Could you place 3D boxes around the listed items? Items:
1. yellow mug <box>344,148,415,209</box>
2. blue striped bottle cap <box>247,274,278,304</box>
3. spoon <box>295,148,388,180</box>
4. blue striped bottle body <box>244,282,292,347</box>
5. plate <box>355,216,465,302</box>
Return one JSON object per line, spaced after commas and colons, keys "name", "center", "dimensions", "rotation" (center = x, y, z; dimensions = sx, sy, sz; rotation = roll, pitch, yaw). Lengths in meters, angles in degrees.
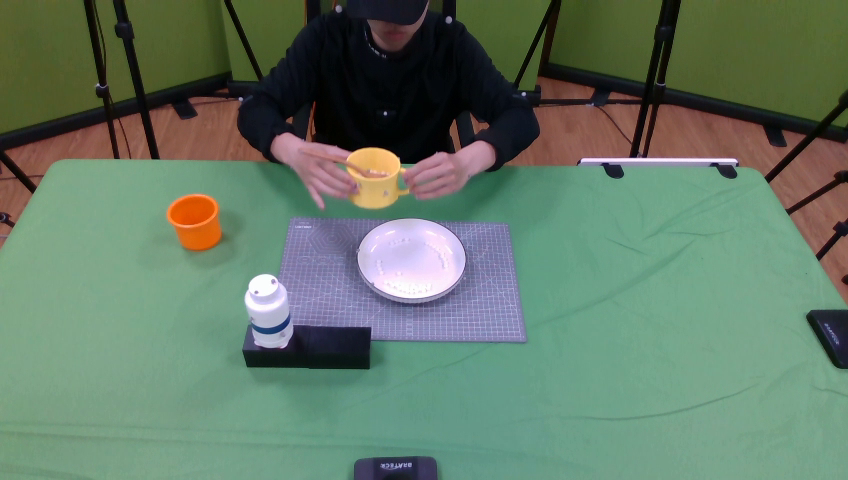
{"name": "yellow mug", "center": [-0.080, -0.112, 1.107], "dimensions": [0.131, 0.064, 0.099], "rotation": [7, 43, 0]}
{"name": "blue striped bottle cap", "center": [-0.239, 0.072, 0.900], "dimensions": [0.044, 0.021, 0.044], "rotation": [4, 46, -4]}
{"name": "spoon", "center": [-0.137, -0.130, 1.074], "dimensions": [0.195, 0.021, 0.041], "rotation": [20, 30, -33]}
{"name": "blue striped bottle body", "center": [-0.241, 0.108, 0.937], "dimensions": [0.063, 0.121, 0.062], "rotation": [2, 46, -2]}
{"name": "plate", "center": [-0.027, 0.039, 1.144], "dimensions": [0.208, 0.039, 0.206], "rotation": [2, 46, -2]}
